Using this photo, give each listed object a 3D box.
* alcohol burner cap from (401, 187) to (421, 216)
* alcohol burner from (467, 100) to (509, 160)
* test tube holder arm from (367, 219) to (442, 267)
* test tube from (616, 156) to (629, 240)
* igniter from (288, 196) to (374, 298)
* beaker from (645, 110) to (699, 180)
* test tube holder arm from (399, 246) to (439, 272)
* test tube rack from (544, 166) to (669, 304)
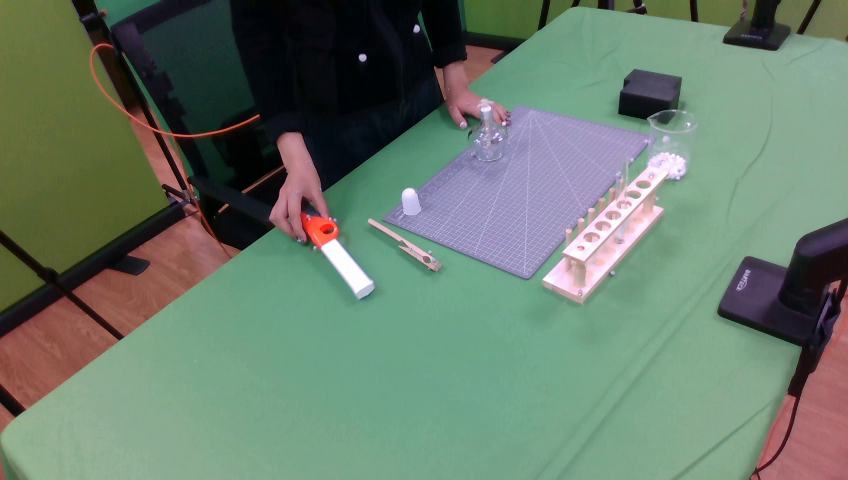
[{"bbox_3d":[-0.025,-0.070,1.048,0.034,0.048,0.033,-5,41,5],"label":"alcohol burner cap"},{"bbox_3d":[0.118,-0.210,1.131,0.078,0.119,0.077,-6,42,6],"label":"alcohol burner"},{"bbox_3d":[-0.035,0.003,0.985,0.177,0.015,0.013,32,89,40],"label":"test tube holder arm"},{"bbox_3d":[0.284,-0.057,0.869,0.017,0.151,0.017,-8,42,8],"label":"test tube"},{"bbox_3d":[-0.160,0.002,0.991,0.057,0.025,0.274,-30,47,-17],"label":"igniter"},{"bbox_3d":[0.417,-0.160,1.032,0.083,0.101,0.074,25,51,35],"label":"beaker"},{"bbox_3d":[-0.009,0.026,0.957,0.087,0.015,0.010,34,91,40],"label":"test tube holder arm"},{"bbox_3d":[0.274,-0.018,0.903,0.066,0.085,0.243,26,51,35],"label":"test tube rack"}]
